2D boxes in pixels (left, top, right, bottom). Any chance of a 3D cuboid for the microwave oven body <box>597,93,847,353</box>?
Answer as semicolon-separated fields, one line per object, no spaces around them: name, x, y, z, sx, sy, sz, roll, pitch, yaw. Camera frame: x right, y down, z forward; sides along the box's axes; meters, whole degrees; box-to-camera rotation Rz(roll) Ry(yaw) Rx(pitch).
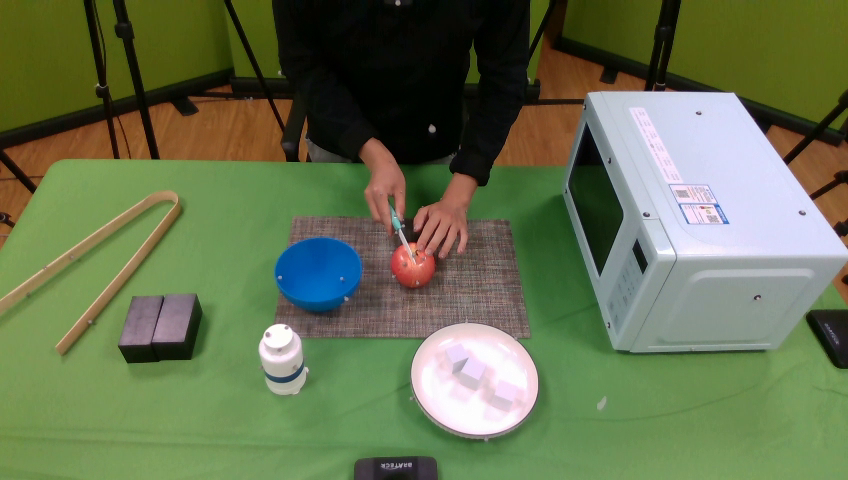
microwave oven body;0.475;-0.041;1.109;0.326;0.261;0.438;-1;45;-4

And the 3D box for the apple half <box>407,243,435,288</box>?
apple half;-0.008;0.047;1.115;0.053;0.075;0.080;-5;42;-16

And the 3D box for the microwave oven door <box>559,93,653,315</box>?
microwave oven door;0.327;-0.074;1.123;0.039;0.245;0.353;-1;46;-5

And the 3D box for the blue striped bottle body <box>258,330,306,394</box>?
blue striped bottle body;-0.220;0.182;0.937;0.063;0.121;0.062;2;46;-2

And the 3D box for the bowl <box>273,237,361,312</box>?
bowl;-0.186;0.074;1.069;0.151;0.077;0.150;3;46;-3

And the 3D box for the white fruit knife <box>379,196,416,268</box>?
white fruit knife;-0.048;-0.019;1.113;0.016;0.027;0.206;-12;43;-16

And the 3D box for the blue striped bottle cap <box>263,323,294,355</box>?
blue striped bottle cap;-0.217;0.146;0.900;0.044;0.021;0.044;1;46;-1

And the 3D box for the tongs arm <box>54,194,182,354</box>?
tongs arm;-0.543;0.048;1.107;0.028;0.028;0.385;11;46;10

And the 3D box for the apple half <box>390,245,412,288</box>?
apple half;-0.046;0.052;1.106;0.033;0.081;0.080;-7;47;-16

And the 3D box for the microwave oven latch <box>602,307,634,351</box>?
microwave oven latch;0.332;0.153;1.044;0.030;0.029;0.078;-1;45;-4

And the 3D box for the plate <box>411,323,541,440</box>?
plate;0.082;0.228;0.976;0.208;0.039;0.206;2;45;-2

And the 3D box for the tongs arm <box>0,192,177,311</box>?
tongs arm;-0.618;0.019;1.124;0.050;0.026;0.384;24;47;17
